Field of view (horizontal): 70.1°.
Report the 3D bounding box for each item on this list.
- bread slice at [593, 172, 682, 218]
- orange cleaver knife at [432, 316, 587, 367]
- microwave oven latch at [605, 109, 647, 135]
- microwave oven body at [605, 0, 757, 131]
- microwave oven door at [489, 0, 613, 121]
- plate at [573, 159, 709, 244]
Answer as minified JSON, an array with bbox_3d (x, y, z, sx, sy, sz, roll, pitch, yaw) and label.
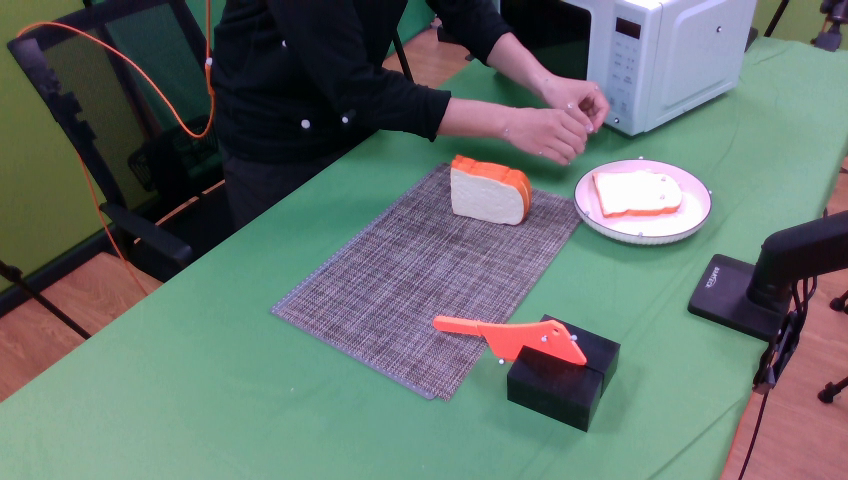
[{"bbox_3d":[0.351,-0.076,0.995,0.134,0.018,0.106,-4,44,1],"label":"bread slice"},{"bbox_3d":[0.101,0.127,0.761,0.210,0.077,0.012,-1,34,40],"label":"orange cleaver knife"},{"bbox_3d":[0.379,-0.225,1.139,0.030,0.029,0.078,-26,43,-20],"label":"microwave oven latch"},{"bbox_3d":[0.396,-0.448,1.248,0.327,0.261,0.437,-27,44,-21],"label":"microwave oven body"},{"bbox_3d":[0.252,-0.414,1.220,0.039,0.245,0.352,-28,45,-20],"label":"microwave oven door"},{"bbox_3d":[0.347,-0.059,0.978,0.207,0.039,0.206,-4,41,4],"label":"plate"}]
